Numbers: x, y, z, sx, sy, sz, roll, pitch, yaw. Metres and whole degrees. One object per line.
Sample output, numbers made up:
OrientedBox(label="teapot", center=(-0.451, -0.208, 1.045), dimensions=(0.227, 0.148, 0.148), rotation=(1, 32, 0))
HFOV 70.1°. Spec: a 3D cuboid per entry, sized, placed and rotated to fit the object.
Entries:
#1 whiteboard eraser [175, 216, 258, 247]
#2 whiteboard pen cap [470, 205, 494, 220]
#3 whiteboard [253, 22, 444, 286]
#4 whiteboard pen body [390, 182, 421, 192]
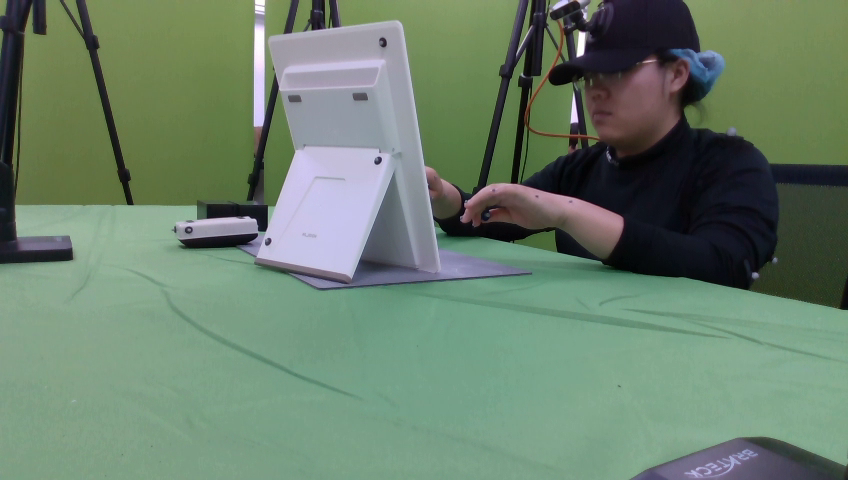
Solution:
OrientedBox(label="whiteboard eraser", center=(-0.314, -0.012, 0.914), dimensions=(0.113, 0.042, 0.055), rotation=(-5, 12, -30))
OrientedBox(label="whiteboard pen cap", center=(0.084, -0.038, 0.874), dimensions=(0.033, 0.018, 0.018), rotation=(16, 9, 5))
OrientedBox(label="whiteboard", center=(-0.125, -0.081, 0.715), dimensions=(0.216, 0.305, 0.144), rotation=(9, 29, 36))
OrientedBox(label="whiteboard pen body", center=(-0.030, -0.087, 1.003), dimensions=(0.017, 0.017, 0.140), rotation=(0, 5, -20))
